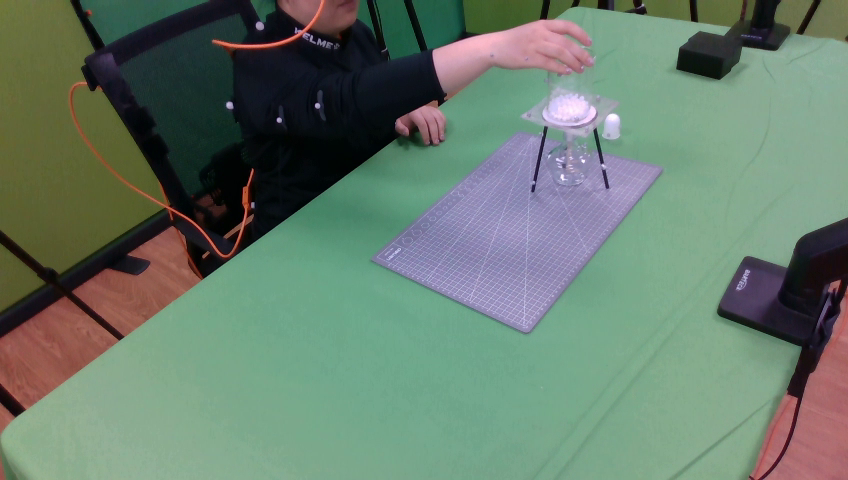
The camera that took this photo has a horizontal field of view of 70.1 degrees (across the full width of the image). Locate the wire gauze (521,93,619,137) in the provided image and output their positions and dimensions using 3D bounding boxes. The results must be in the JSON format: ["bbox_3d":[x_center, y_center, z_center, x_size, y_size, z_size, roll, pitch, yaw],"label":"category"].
[{"bbox_3d":[0.240,-0.212,0.995,0.124,0.011,0.122,22,46,34],"label":"wire gauze"}]

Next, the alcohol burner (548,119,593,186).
[{"bbox_3d":[0.252,-0.154,1.042,0.078,0.120,0.077,-7,40,7],"label":"alcohol burner"}]

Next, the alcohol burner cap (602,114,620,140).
[{"bbox_3d":[0.359,-0.217,1.157,0.034,0.048,0.033,-6,39,6],"label":"alcohol burner cap"}]

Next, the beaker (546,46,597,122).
[{"bbox_3d":[0.229,-0.246,0.962,0.083,0.101,0.074,25,49,34],"label":"beaker"}]

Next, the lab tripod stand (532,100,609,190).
[{"bbox_3d":[0.251,-0.160,1.034,0.148,0.132,0.147,-4,39,4],"label":"lab tripod stand"}]
